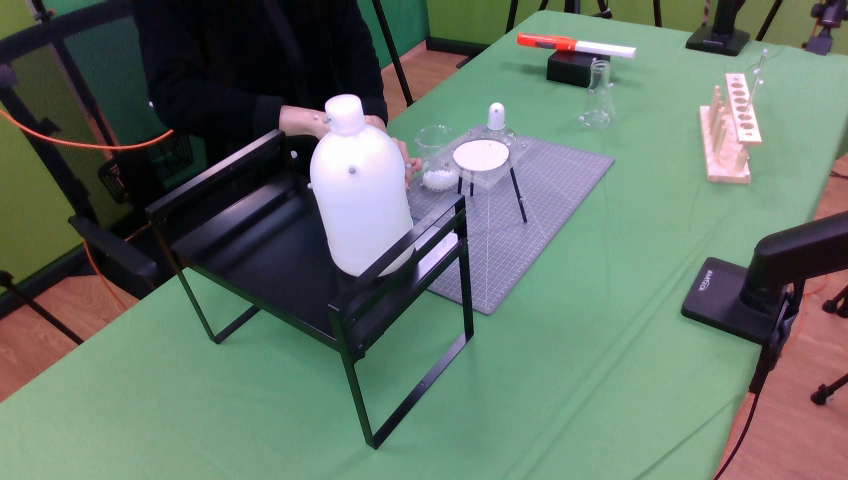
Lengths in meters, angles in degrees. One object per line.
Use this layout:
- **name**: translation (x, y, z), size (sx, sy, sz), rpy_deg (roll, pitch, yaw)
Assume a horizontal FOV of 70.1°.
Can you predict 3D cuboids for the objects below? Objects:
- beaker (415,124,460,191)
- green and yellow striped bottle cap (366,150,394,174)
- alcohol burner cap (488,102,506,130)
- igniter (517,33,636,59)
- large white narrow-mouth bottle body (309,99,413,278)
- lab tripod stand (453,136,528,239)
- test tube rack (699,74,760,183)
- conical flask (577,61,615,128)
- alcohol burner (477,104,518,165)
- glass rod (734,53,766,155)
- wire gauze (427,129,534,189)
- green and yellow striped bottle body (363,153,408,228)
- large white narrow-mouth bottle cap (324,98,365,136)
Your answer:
- **beaker**: translation (0.027, -0.147, 1.081), size (0.073, 0.100, 0.084), rpy_deg (12, 43, 21)
- **green and yellow striped bottle cap**: translation (-0.071, -0.126, 0.968), size (0.045, 0.020, 0.045), rpy_deg (-4, 39, 4)
- **alcohol burner cap**: translation (0.133, -0.227, 1.092), size (0.034, 0.048, 0.033), rpy_deg (-1, 47, 2)
- **igniter**: translation (0.336, -0.441, 1.369), size (0.275, 0.025, 0.057), rpy_deg (16, 41, 23)
- **large white narrow-mouth bottle body**: translation (-0.068, -0.057, 0.644), size (0.102, 0.195, 0.101), rpy_deg (-3, 42, 4)
- **lab tripod stand**: translation (0.094, -0.086, 0.974), size (0.148, 0.132, 0.147), rpy_deg (-4, 43, 4)
- **test tube rack**: translation (0.547, -0.208, 1.095), size (0.066, 0.085, 0.242), rpy_deg (6, 42, 16)
- **conical flask**: translation (0.343, -0.288, 1.188), size (0.075, 0.122, 0.075), rpy_deg (-4, 41, 4)
- **alcohol burner**: translation (0.135, -0.200, 1.117), size (0.078, 0.119, 0.077), rpy_deg (-4, 43, 4)
- **glass rod**: translation (0.540, -0.220, 1.006), size (0.008, 0.201, 0.008), rpy_deg (-5, 45, 6)
- **wire gauze**: translation (0.086, -0.131, 0.924), size (0.124, 0.011, 0.122), rpy_deg (26, 52, 33)
- **green and yellow striped bottle body**: translation (-0.064, -0.083, 1.003), size (0.063, 0.120, 0.063), rpy_deg (-4, 40, 4)
- **large white narrow-mouth bottle cap**: translation (-0.076, -0.120, 0.585), size (0.038, 0.024, 0.037), rpy_deg (-3, 42, 3)
